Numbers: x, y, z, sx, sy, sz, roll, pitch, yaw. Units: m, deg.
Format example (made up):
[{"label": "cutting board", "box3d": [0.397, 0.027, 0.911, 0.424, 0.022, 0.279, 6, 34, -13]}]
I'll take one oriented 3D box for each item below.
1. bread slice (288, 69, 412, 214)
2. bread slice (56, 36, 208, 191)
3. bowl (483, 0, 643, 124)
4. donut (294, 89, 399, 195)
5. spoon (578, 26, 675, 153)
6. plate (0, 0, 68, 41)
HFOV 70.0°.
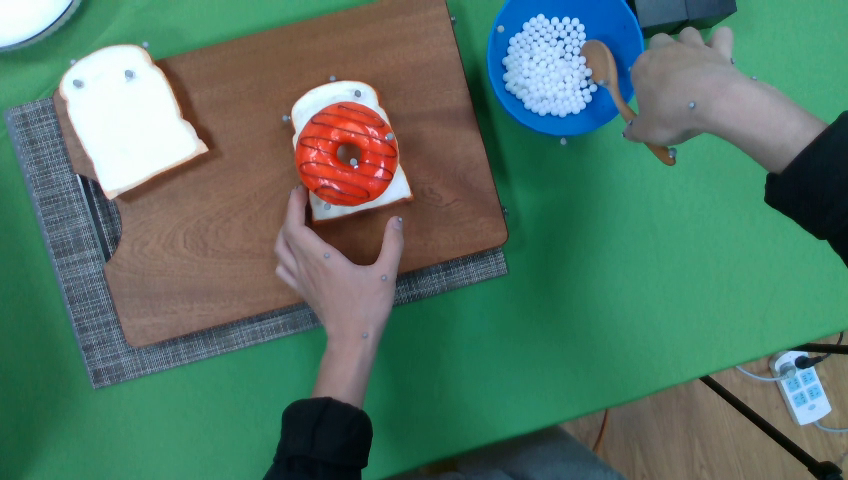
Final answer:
[{"label": "bread slice", "box3d": [-0.080, -0.100, 0.599, 0.105, 0.019, 0.131, -17, 95, -3]}, {"label": "bread slice", "box3d": [-0.289, -0.126, 0.586, 0.107, 0.018, 0.134, -30, 93, -1]}, {"label": "bowl", "box3d": [0.129, -0.186, 0.602, 0.151, 0.076, 0.151, 0, 94, -2]}, {"label": "donut", "box3d": [-0.073, -0.091, 0.570, 0.099, 0.048, 0.099, 0, 94, -3]}, {"label": "spoon", "box3d": [0.178, -0.136, 0.546, 0.022, 0.191, 0.042, -3, 136, -7]}, {"label": "plate", "box3d": [-0.431, -0.296, 0.590, 0.208, 0.039, 0.207, 0, 93, -3]}]
